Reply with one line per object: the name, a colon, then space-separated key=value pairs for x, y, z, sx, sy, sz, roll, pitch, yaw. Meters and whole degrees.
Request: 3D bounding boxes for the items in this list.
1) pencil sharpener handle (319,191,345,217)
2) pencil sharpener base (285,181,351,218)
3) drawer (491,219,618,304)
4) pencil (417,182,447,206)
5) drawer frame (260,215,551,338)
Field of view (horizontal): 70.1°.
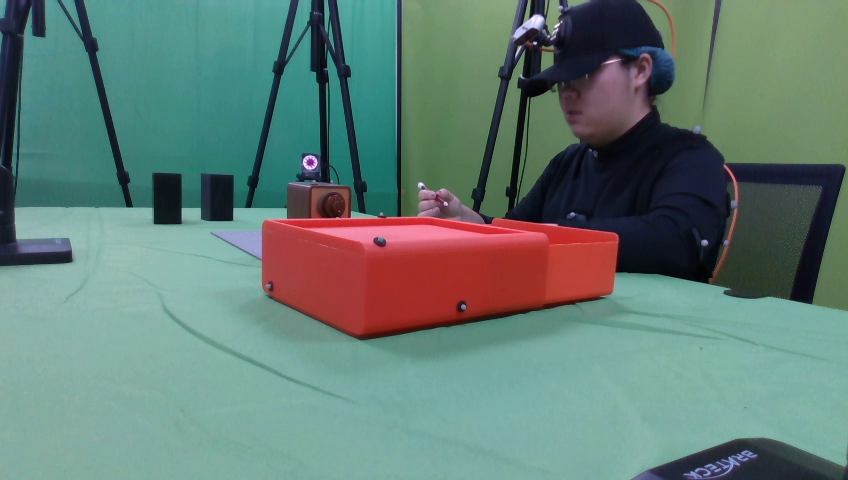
pencil sharpener handle: x=-0.107 y=-0.026 z=0.748 sx=0.036 sy=0.067 sz=0.030 roll=-6 pitch=11 yaw=-36
pencil sharpener base: x=-0.139 y=-0.021 z=0.789 sx=0.062 sy=0.107 sz=0.076 roll=-2 pitch=9 yaw=-36
drawer: x=0.071 y=0.021 z=0.670 sx=0.213 sy=0.073 sz=0.193 roll=-3 pitch=9 yaw=-39
pencil: x=0.015 y=-0.086 z=1.138 sx=0.012 sy=0.012 sz=0.193 roll=1 pitch=16 yaw=-16
drawer frame: x=-0.021 y=0.023 z=0.595 sx=0.215 sy=0.082 sz=0.200 roll=-4 pitch=10 yaw=-38
